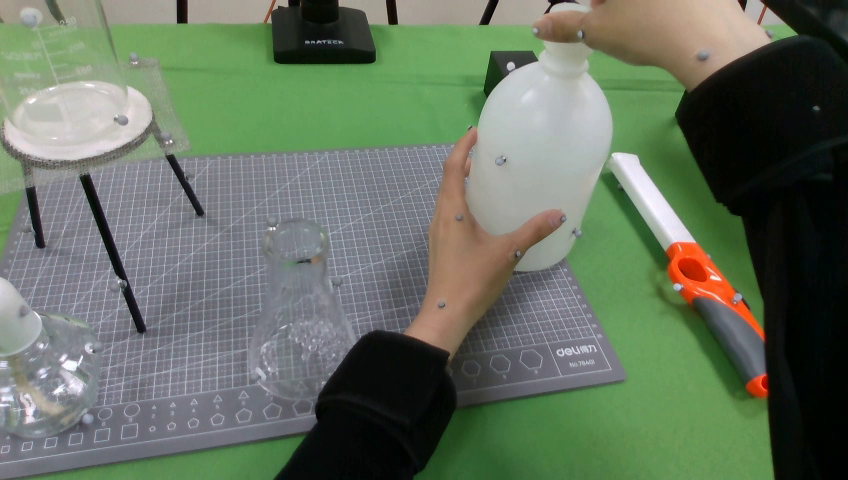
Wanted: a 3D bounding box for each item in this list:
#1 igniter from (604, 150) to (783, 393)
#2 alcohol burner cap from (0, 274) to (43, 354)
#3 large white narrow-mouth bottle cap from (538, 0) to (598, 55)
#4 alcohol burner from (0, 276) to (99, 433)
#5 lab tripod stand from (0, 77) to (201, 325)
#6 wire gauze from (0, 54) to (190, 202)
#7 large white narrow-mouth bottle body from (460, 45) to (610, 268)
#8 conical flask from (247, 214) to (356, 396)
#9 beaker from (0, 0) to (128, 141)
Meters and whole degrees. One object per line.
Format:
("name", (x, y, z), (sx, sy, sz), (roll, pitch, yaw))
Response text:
("igniter", (0.226, 0.012, 0.532), (0.057, 0.025, 0.273), (4, 45, -20))
("alcohol burner cap", (-0.231, 0.037, 0.325), (0.034, 0.048, 0.033), (4, 51, -5))
("large white narrow-mouth bottle cap", (0.096, -0.142, 0.404), (0.038, 0.024, 0.037), (4, 46, -4))
("alcohol burner", (-0.235, 0.061, 0.351), (0.078, 0.120, 0.077), (6, 44, -5))
("lab tripod stand", (-0.225, -0.033, 0.429), (0.148, 0.132, 0.147), (6, 46, -5))
("wire gauze", (-0.223, -0.079, 0.383), (0.122, 0.011, 0.123), (-17, 55, -21))
("large white narrow-mouth bottle body", (0.088, -0.074, 0.473), (0.102, 0.196, 0.101), (4, 46, -3))
("conical flask", (-0.080, 0.039, 0.389), (0.075, 0.123, 0.074), (4, 46, -4))
("beaker", (-0.222, -0.115, 0.349), (0.084, 0.101, 0.073), (-10, 50, -17))
